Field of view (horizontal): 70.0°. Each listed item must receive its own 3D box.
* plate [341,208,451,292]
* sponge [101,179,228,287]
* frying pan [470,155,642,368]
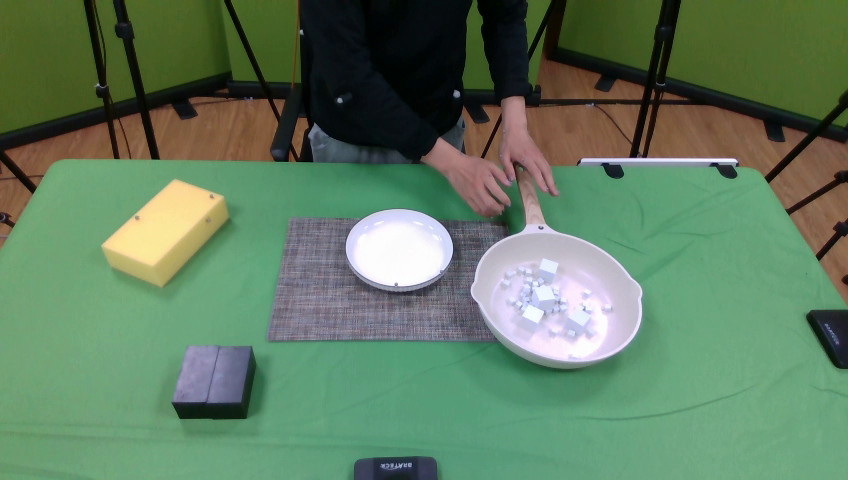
[{"bbox_3d":[-0.053,0.022,1.156,0.208,0.039,0.206,2,46,-2],"label":"plate"},{"bbox_3d":[-0.486,-0.018,1.151,0.118,0.061,0.206,19,47,12],"label":"sponge"},{"bbox_3d":[0.222,0.022,1.134,0.307,0.103,0.484,0,55,-7],"label":"frying pan"}]
